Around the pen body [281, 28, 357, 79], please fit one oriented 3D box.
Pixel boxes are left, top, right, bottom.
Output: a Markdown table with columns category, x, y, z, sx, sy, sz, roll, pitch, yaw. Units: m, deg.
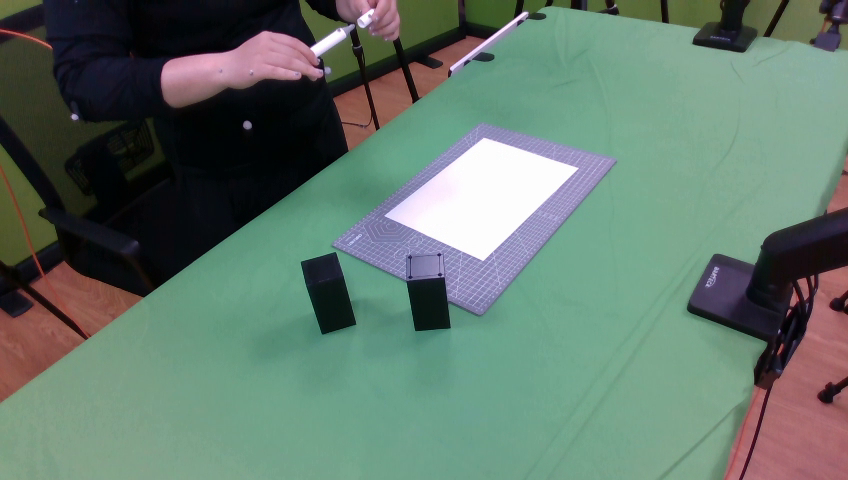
| category | x | y | z | sx | sy | sz | roll | pitch | yaw |
| --- | --- | --- | --- | --- | --- | --- | --- | --- | --- |
| pen body | -0.156 | -0.287 | 0.919 | 0.144 | 0.017 | 0.017 | -41 | 49 | -20 |

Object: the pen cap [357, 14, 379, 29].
| category | x | y | z | sx | sy | sz | roll | pitch | yaw |
| --- | --- | --- | --- | --- | --- | --- | --- | --- | --- |
| pen cap | -0.089 | -0.349 | 0.966 | 0.017 | 0.017 | 0.038 | 28 | 48 | 35 |
